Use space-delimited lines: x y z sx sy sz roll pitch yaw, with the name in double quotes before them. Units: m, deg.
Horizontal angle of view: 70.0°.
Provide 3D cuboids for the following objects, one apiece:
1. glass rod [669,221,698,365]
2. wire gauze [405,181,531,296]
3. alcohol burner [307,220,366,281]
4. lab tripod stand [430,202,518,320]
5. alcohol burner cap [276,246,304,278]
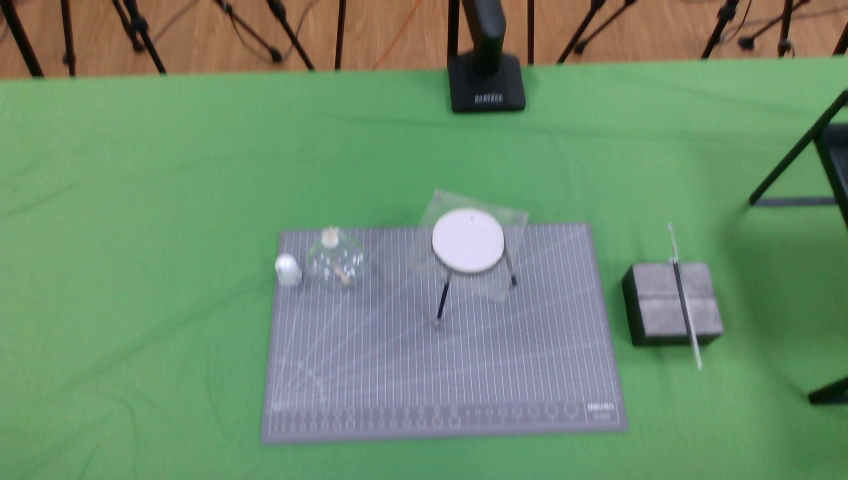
"glass rod" 0.333 0.063 0.779 0.008 0.008 0.198 2 64 0
"wire gauze" 0.053 -0.007 0.714 0.125 0.011 0.121 19 64 7
"alcohol burner" -0.116 0.007 0.788 0.078 0.120 0.077 1 63 -2
"lab tripod stand" 0.056 0.021 0.775 0.148 0.132 0.147 1 62 -1
"alcohol burner cap" -0.183 0.027 0.817 0.034 0.048 0.033 -1 63 2
